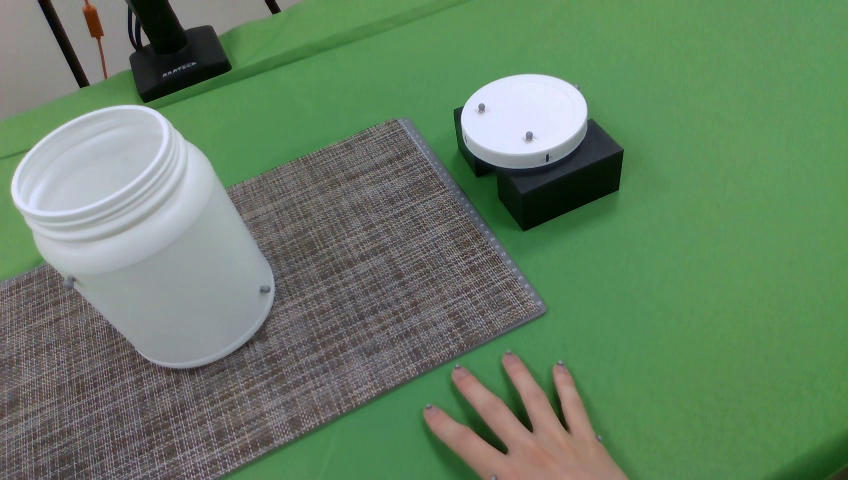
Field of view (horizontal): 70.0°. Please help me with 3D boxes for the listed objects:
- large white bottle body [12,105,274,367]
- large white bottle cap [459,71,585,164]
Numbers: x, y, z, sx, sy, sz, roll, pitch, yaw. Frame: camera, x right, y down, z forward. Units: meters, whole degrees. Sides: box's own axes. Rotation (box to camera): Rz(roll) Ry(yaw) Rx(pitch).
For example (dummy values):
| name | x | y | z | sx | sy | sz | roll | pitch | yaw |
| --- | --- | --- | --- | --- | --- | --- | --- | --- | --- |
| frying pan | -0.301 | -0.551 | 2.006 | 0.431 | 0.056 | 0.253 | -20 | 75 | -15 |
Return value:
| name | x | y | z | sx | sy | sz | roll | pitch | yaw |
| --- | --- | --- | --- | --- | --- | --- | --- | --- | --- |
| large white bottle body | -0.207 | 0.001 | 0.472 | 0.130 | 0.186 | 0.129 | -5 | 50 | 7 |
| large white bottle cap | 0.090 | -0.115 | 0.557 | 0.115 | 0.018 | 0.113 | -5 | 50 | 7 |
